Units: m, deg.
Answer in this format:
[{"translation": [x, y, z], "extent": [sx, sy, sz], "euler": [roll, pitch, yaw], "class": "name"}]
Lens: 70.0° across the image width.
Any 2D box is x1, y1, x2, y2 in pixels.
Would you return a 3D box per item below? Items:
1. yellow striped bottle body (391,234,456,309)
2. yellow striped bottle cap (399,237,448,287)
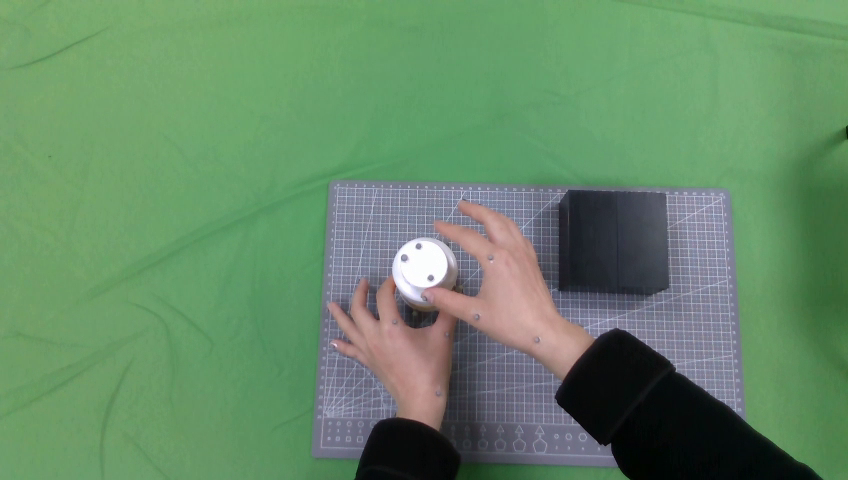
[{"translation": [0.000, 0.032, 0.603], "extent": [0.063, 0.121, 0.062], "euler": [0, 78, 1], "class": "yellow striped bottle body"}, {"translation": [-0.001, 0.020, 0.551], "extent": [0.044, 0.019, 0.044], "euler": [-1, 80, 4], "class": "yellow striped bottle cap"}]
